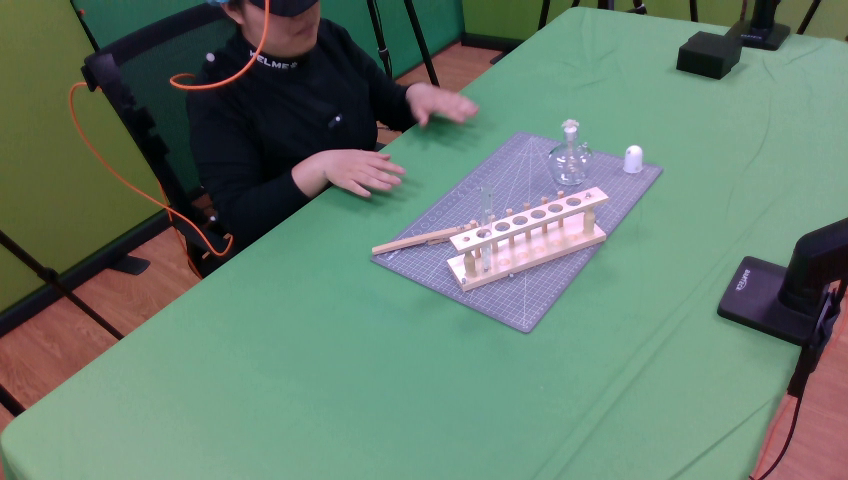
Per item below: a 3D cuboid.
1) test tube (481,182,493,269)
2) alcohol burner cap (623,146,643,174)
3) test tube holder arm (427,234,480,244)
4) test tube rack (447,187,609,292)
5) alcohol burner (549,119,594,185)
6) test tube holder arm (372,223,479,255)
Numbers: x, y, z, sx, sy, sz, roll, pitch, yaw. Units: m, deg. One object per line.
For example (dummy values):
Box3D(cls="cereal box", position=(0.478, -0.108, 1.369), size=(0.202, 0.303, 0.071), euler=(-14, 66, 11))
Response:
Box3D(cls="test tube", position=(0.089, -0.016, 0.854), size=(0.017, 0.151, 0.017), euler=(-2, 40, 2))
Box3D(cls="alcohol burner cap", position=(0.369, -0.143, 1.061), size=(0.034, 0.048, 0.033), euler=(-6, 41, 6))
Box3D(cls="test tube holder arm", position=(0.048, -0.006, 0.986), size=(0.088, 0.010, 0.015), euler=(-7, 34, -5))
Box3D(cls="test tube rack", position=(0.154, -0.011, 0.913), size=(0.243, 0.085, 0.066), euler=(-19, 41, -11))
Box3D(cls="alcohol burner", position=(0.254, -0.155, 1.043), size=(0.078, 0.120, 0.077), euler=(-7, 40, 6))
Box3D(cls="test tube holder arm", position=(0.003, -0.002, 0.980), size=(0.178, 0.013, 0.015), euler=(-12, 34, -2))
